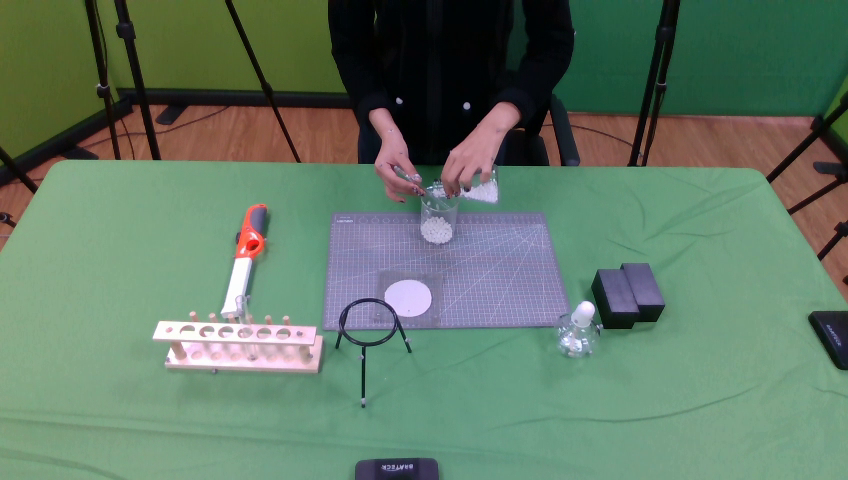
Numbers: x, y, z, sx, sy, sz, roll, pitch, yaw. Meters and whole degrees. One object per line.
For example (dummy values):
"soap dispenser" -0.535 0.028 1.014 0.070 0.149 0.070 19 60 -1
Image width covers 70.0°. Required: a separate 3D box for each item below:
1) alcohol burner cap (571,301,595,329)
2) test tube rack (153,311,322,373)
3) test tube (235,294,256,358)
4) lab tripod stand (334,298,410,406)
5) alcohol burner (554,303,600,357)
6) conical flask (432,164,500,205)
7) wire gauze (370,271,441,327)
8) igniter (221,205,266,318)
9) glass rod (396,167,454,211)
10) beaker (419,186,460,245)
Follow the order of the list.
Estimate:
"alcohol burner cap" 0.262 0.120 0.991 0.034 0.048 0.033 2 52 -2
"test tube rack" -0.293 0.160 0.978 0.242 0.085 0.066 3 46 -2
"test tube" -0.274 0.136 0.933 0.017 0.151 0.017 4 46 -4
"lab tripod stand" -0.085 0.164 0.957 0.148 0.132 0.147 3 44 -2
"alcohol burner" 0.260 0.143 1.018 0.078 0.119 0.077 3 45 -3
"conical flask" 0.078 -0.100 1.115 0.122 0.076 0.075 -3 45 10
"wire gauze" -0.032 0.103 1.104 0.125 0.011 0.121 4 46 3
"igniter" -0.338 0.030 1.140 0.057 0.025 0.274 -5 46 3
"glass rod" 0.005 -0.091 1.119 0.008 0.201 0.008 -13 64 29
"beaker" 0.025 -0.047 1.190 0.074 0.101 0.083 -29 54 -29
